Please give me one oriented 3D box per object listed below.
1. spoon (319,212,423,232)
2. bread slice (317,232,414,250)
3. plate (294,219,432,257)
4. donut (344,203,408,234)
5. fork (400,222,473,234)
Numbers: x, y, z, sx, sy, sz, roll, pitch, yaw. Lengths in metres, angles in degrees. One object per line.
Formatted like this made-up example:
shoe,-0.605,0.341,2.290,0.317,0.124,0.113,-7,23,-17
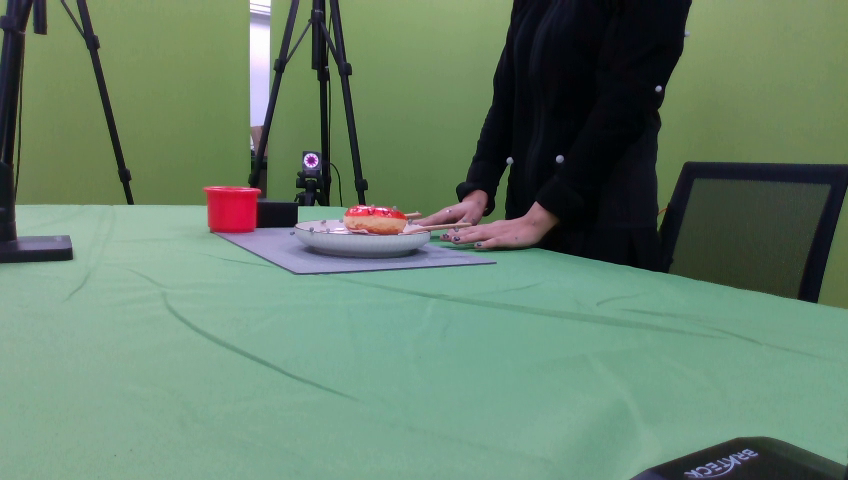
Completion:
spoon,-0.083,-0.028,1.005,0.194,0.021,0.041,-17,20,-30
bread slice,-0.093,0.000,0.915,0.132,0.019,0.104,0,6,-26
plate,-0.092,-0.004,0.923,0.209,0.038,0.209,2,7,0
donut,-0.074,-0.031,0.931,0.099,0.048,0.099,4,3,0
fork,-0.016,-0.007,0.887,0.208,0.018,0.028,-14,0,-27
